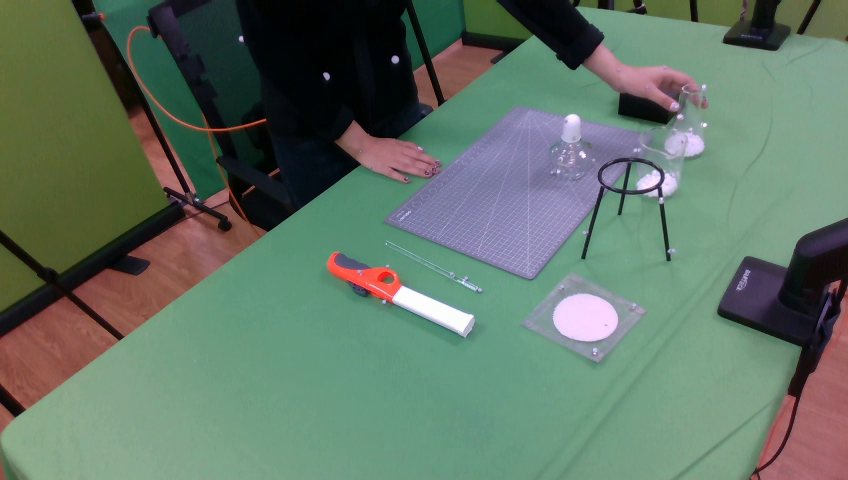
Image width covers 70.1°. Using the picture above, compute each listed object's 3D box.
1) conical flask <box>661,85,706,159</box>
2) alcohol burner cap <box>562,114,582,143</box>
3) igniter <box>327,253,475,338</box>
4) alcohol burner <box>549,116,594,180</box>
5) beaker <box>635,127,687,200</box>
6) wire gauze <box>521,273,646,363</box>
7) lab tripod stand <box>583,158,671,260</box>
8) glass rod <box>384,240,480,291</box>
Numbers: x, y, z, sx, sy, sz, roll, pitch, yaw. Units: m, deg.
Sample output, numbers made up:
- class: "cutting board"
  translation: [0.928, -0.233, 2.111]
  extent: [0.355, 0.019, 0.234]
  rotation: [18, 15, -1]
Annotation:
- class: "conical flask"
  translation: [0.464, -0.210, 1.065]
  extent: [0.075, 0.122, 0.075]
  rotation: [-6, 40, 5]
- class: "alcohol burner cap"
  translation: [0.254, -0.191, 1.030]
  extent: [0.034, 0.048, 0.033]
  rotation: [-4, 50, 6]
- class: "igniter"
  translation: [-0.045, 0.077, 0.898]
  extent: [0.274, 0.025, 0.057]
  rotation: [22, 60, 32]
- class: "alcohol burner"
  translation: [0.258, -0.166, 1.055]
  extent: [0.078, 0.120, 0.077]
  rotation: [-6, 42, 6]
- class: "beaker"
  translation: [0.388, -0.122, 0.994]
  extent: [0.074, 0.101, 0.083]
  rotation: [-8, 41, 3]
- class: "wire gauze"
  translation: [0.219, 0.105, 0.830]
  extent: [0.120, 0.011, 0.125]
  rotation: [28, 54, 37]
- class: "lab tripod stand"
  translation: [0.300, -0.046, 0.895]
  extent: [0.148, 0.132, 0.147]
  rotation: [-7, 38, 6]
- class: "glass rod"
  translation: [0.009, 0.037, 0.949]
  extent: [0.198, 0.008, 0.008]
  rotation: [26, 52, 34]
